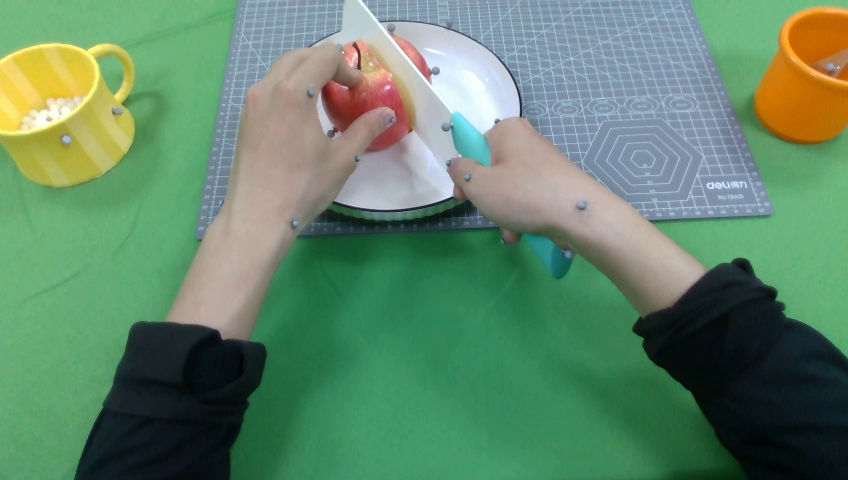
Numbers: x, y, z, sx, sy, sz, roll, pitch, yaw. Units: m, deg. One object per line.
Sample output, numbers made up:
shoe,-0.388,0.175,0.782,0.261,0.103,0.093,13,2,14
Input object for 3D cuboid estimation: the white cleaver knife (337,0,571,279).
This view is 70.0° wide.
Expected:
white cleaver knife,0.012,-0.084,0.449,0.021,0.066,0.284,-27,67,-22

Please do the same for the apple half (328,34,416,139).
apple half,-0.044,-0.112,0.476,0.053,0.075,0.080,-45,64,-8

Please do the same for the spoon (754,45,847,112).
spoon,0.357,-0.160,0.471,0.022,0.194,0.041,23,47,-38

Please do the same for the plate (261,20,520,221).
plate,-0.027,-0.099,0.502,0.209,0.038,0.207,0,59,1

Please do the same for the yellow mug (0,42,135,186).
yellow mug,-0.294,-0.115,0.503,0.099,0.064,0.130,29,63,17

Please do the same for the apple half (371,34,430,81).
apple half,-0.016,-0.130,0.491,0.033,0.082,0.080,-29,62,-22
